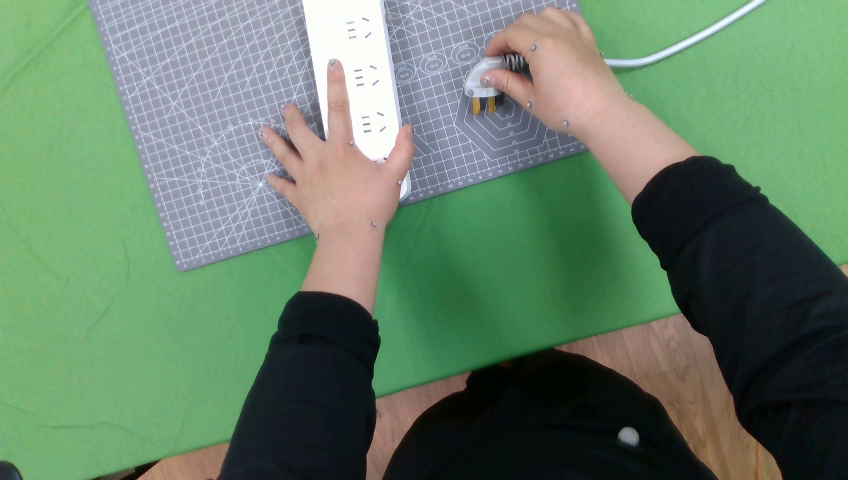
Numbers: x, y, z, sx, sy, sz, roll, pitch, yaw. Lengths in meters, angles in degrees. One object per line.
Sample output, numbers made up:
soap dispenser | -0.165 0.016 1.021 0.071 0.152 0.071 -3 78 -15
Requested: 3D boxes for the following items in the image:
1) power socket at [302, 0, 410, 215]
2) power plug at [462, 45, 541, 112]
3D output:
power socket | -0.063 -0.136 0.568 0.072 0.032 0.227 -8 95 4
power plug | 0.070 -0.143 0.548 0.072 0.035 0.053 0 124 23
